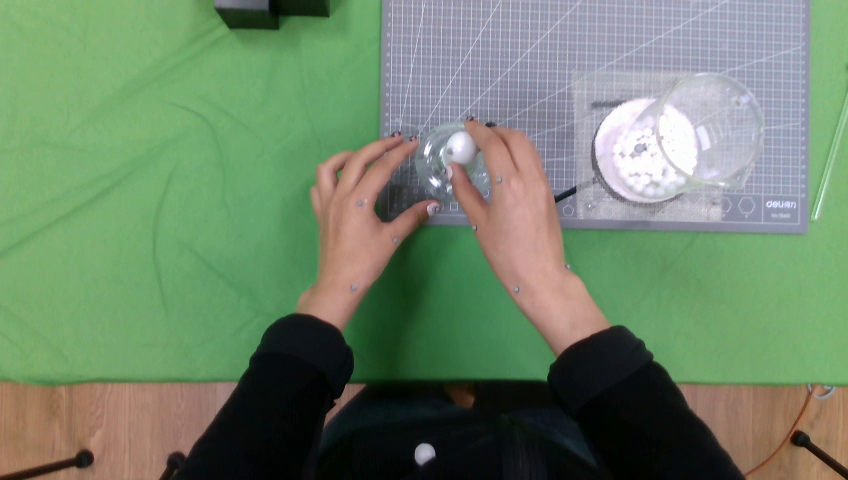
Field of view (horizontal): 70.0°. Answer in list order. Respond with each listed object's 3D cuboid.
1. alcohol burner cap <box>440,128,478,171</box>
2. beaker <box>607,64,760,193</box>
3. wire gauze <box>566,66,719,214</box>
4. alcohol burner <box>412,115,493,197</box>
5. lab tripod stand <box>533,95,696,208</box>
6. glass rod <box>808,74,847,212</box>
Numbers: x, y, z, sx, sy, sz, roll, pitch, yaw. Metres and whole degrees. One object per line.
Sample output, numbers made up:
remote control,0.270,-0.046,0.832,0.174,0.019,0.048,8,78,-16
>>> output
alcohol burner cap,0.032,-0.080,0.525,0.034,0.048,0.034,0,85,0
beaker,0.184,-0.073,0.446,0.074,0.100,0.084,-31,89,-4
wire gauze,0.179,-0.082,0.494,0.125,0.011,0.121,0,87,-1
alcohol burner,0.029,-0.081,0.561,0.078,0.119,0.078,0,86,-4
lab tripod stand,0.175,-0.077,0.559,0.148,0.131,0.148,0,88,-1
glass rod,0.437,-0.125,0.640,0.008,0.008,0.199,18,89,-3
